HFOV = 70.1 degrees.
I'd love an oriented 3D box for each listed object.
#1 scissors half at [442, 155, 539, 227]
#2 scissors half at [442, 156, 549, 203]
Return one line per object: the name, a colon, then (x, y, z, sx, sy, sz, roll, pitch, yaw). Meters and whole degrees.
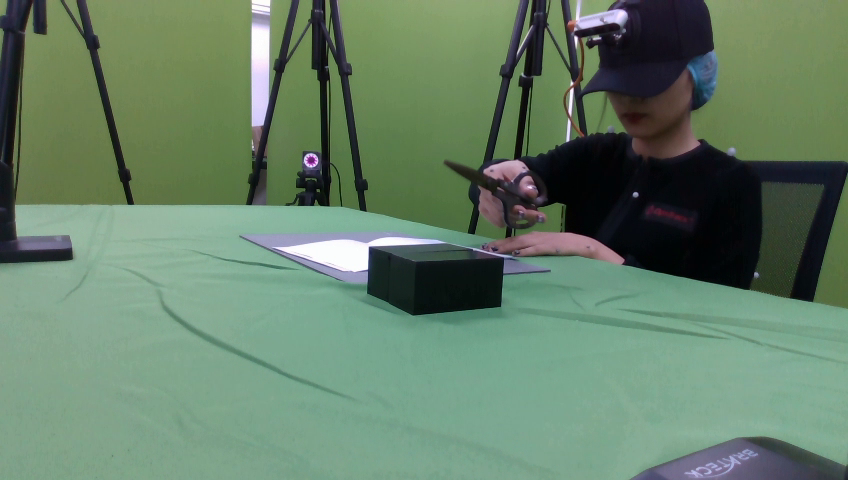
scissors half: (0.079, -0.057, 0.709, 0.176, 0.040, 0.012, 32, 0, -39)
scissors half: (0.088, -0.076, 0.708, 0.176, 0.040, 0.013, 10, 8, -38)
